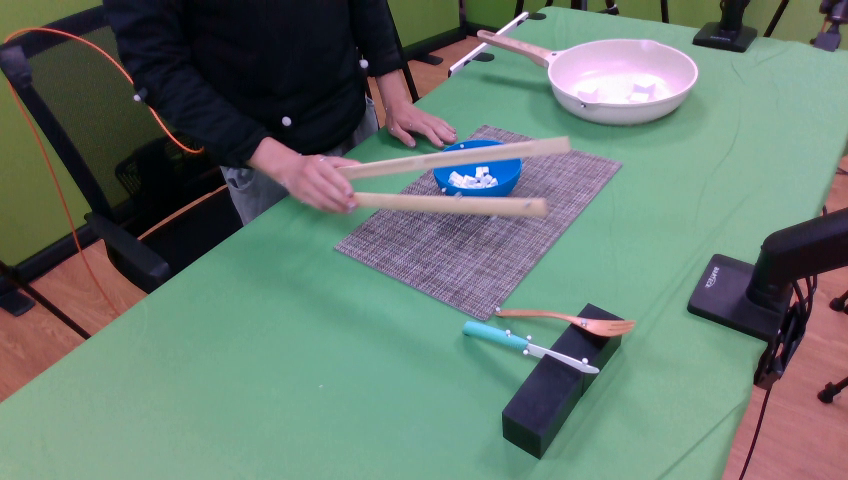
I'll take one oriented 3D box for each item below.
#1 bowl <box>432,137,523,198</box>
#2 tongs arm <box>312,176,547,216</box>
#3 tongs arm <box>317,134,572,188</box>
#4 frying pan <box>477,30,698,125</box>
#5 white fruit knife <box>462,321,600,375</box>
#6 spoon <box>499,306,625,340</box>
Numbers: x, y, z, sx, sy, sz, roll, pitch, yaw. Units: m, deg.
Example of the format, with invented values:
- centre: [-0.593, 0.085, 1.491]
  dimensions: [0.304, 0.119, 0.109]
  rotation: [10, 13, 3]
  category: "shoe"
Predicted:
- centre: [0.091, -0.100, 1.022]
  dimensions: [0.151, 0.077, 0.150]
  rotation: [-4, 41, 4]
  category: "bowl"
- centre: [-0.009, -0.063, 0.832]
  dimensions: [0.382, 0.027, 0.051]
  rotation: [4, 46, 31]
  category: "tongs arm"
- centre: [0.019, -0.115, 0.883]
  dimensions: [0.386, 0.028, 0.028]
  rotation: [-5, 45, 21]
  category: "tongs arm"
- centre: [0.321, -0.371, 1.290]
  dimensions: [0.484, 0.103, 0.308]
  rotation: [29, 51, 24]
  category: "frying pan"
- centre: [0.126, 0.132, 0.752]
  dimensions: [0.205, 0.027, 0.016]
  rotation: [12, 48, 42]
  category: "white fruit knife"
- centre: [0.169, 0.101, 0.773]
  dimensions: [0.042, 0.021, 0.192]
  rotation: [-11, 14, -38]
  category: "spoon"
